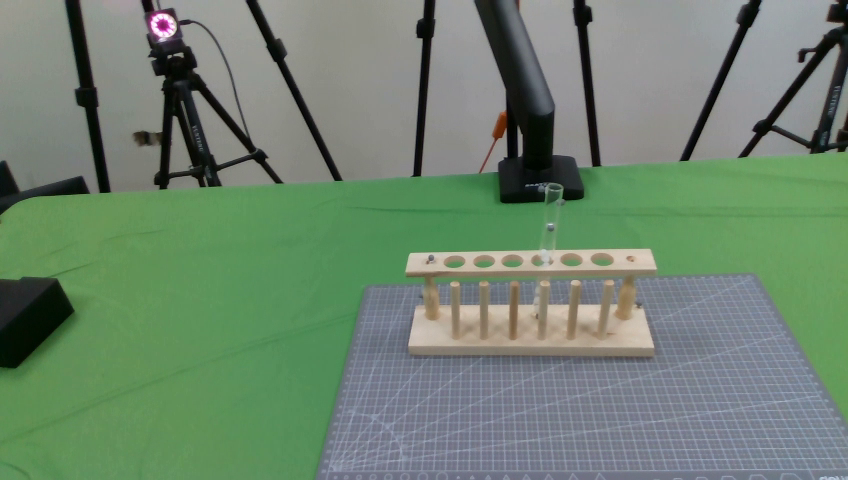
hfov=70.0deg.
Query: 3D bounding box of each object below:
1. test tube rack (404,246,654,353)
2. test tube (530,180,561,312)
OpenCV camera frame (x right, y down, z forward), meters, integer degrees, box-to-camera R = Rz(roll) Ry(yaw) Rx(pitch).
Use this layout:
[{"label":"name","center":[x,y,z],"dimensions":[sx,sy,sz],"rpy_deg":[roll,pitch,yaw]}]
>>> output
[{"label":"test tube rack","center":[0.103,0.061,0.614],"dimensions":[0.242,0.086,0.066],"rpy_deg":[-1,34,8]},{"label":"test tube","center":[0.119,0.011,0.598],"dimensions":[0.017,0.151,0.017],"rpy_deg":[0,33,0]}]
